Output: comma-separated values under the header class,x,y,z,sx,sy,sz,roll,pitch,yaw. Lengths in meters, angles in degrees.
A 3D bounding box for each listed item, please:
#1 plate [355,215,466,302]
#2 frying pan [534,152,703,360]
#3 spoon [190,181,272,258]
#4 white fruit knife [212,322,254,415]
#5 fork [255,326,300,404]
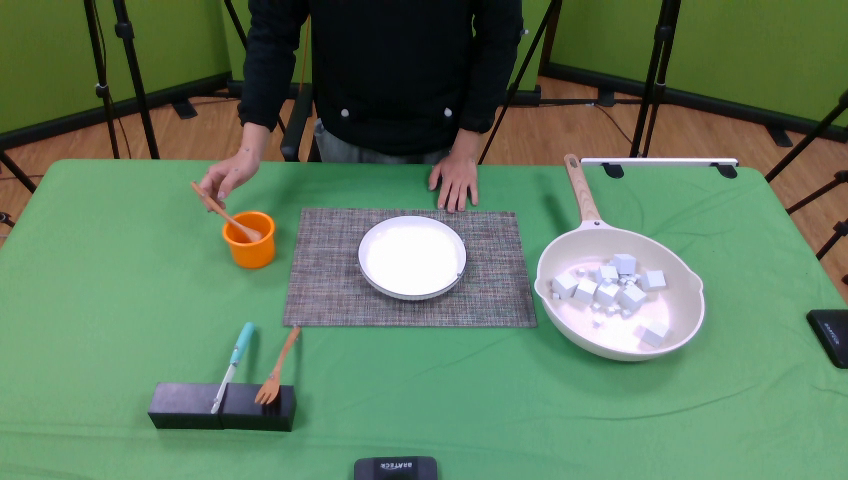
class,x,y,z,sx,sy,sz,roll,pitch,yaw
plate,-0.025,0.038,1.143,0.208,0.039,0.206,3,46,-2
frying pan,0.335,0.013,1.154,0.307,0.103,0.484,-1,55,-7
spoon,-0.352,-0.037,1.111,0.194,0.021,0.041,42,40,-20
white fruit knife,-0.298,0.193,0.947,0.016,0.027,0.206,1,31,-1
fork,-0.226,0.192,0.955,0.028,0.019,0.206,-1,27,5
